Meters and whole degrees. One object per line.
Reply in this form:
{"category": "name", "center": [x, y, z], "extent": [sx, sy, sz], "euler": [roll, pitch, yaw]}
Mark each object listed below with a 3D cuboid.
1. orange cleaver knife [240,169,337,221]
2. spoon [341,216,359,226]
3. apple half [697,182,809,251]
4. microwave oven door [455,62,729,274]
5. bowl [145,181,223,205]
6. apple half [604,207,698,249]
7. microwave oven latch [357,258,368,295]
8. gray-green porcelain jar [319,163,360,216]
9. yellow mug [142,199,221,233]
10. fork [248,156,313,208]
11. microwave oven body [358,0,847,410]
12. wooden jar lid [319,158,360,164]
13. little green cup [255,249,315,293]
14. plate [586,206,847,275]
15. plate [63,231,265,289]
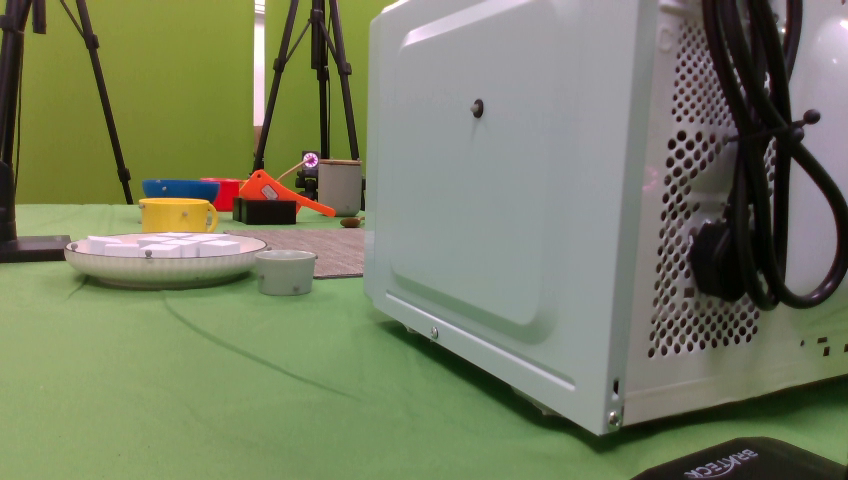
{"category": "orange cleaver knife", "center": [-0.287, -0.082, 1.299], "extent": [0.212, 0.077, 0.012], "euler": [25, -2, -31]}
{"category": "spoon", "center": [-0.132, -0.048, 1.305], "extent": [0.041, 0.021, 0.194], "euler": [-14, 4, 14]}
{"category": "apple half", "center": [0.280, -0.021, 0.512], "extent": [0.075, 0.053, 0.080], "euler": [12, -9, -18]}
{"category": "microwave oven door", "center": [0.198, -0.098, 0.799], "extent": [0.354, 0.243, 0.039], "euler": [7, 10, 37]}
{"category": "bowl", "center": [-0.499, -0.081, 1.261], "extent": [0.151, 0.077, 0.151], "euler": [2, 8, 0]}
{"category": "apple half", "center": [0.207, -0.013, 0.543], "extent": [0.081, 0.033, 0.081], "euler": [3, 10, 0]}
{"category": "microwave oven latch", "center": [-0.019, 0.031, 0.530], "extent": [0.079, 0.029, 0.030], "euler": [-1, 7, -27]}
{"category": "gray-green porcelain jar", "center": [-0.205, -0.126, 1.490], "extent": [0.106, 0.126, 0.106], "euler": [1, 8, 0]}
{"category": "yellow mug", "center": [-0.372, -0.030, 0.948], "extent": [0.099, 0.064, 0.131], "euler": [6, 8, 30]}
{"category": "fork", "center": [-0.360, -0.147, 1.523], "extent": [0.207, 0.019, 0.028], "euler": [-43, 18, -6]}
{"category": "microwave oven body", "center": [0.210, -0.051, 0.472], "extent": [0.444, 0.260, 0.324], "euler": [-1, 7, -28]}
{"category": "wooden jar lid", "center": [-0.203, -0.189, 1.482], "extent": [0.108, 0.020, 0.108], "euler": [2, 10, 0]}
{"category": "little green cup", "center": [-0.144, 0.031, 0.627], "extent": [0.061, 0.038, 0.061], "euler": [2, 6, 0]}
{"category": "plate", "center": [0.245, -0.002, 0.516], "extent": [0.209, 0.038, 0.209], "euler": [2, 8, 0]}
{"category": "plate", "center": [-0.288, 0.021, 0.687], "extent": [0.208, 0.039, 0.207], "euler": [2, 8, 0]}
